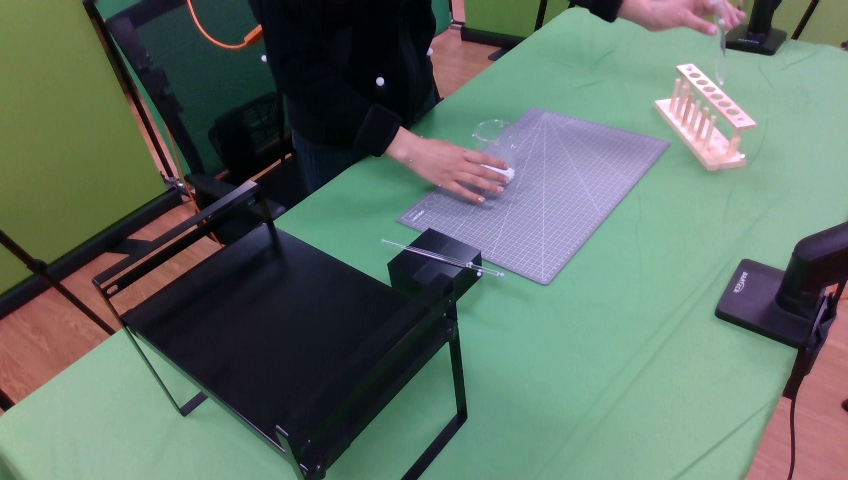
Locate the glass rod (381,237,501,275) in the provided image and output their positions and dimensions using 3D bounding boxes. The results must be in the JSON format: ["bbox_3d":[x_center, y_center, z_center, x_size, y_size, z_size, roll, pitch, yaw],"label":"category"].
[{"bbox_3d":[0.020,0.023,0.881,0.198,0.008,0.008,16,46,25],"label":"glass rod"}]

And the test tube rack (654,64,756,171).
[{"bbox_3d":[0.511,-0.233,1.120,0.067,0.085,0.241,-8,41,-1],"label":"test tube rack"}]

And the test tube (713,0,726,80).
[{"bbox_3d":[0.500,-0.339,1.021,0.017,0.151,0.017,-15,37,12],"label":"test tube"}]

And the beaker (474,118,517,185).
[{"bbox_3d":[0.130,-0.157,1.073,0.073,0.101,0.084,11,44,19],"label":"beaker"}]
